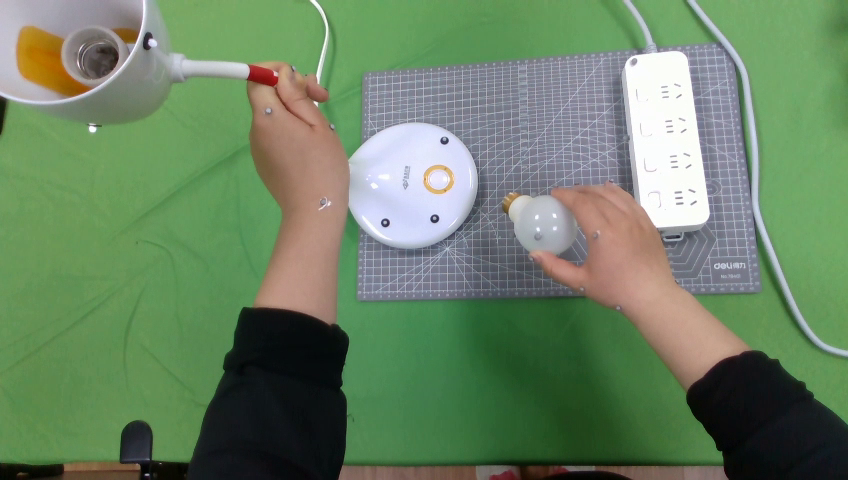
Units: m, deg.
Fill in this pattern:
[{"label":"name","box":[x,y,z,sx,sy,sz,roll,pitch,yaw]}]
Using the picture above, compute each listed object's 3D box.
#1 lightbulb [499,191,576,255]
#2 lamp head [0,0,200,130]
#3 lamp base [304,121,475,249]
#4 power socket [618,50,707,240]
[{"label":"lightbulb","box":[0.108,-0.024,0.608,0.059,0.060,0.106,-42,32,-2]},{"label":"lamp head","box":[-0.214,-0.122,0.398,0.112,0.123,0.112,0,84,2]},{"label":"lamp base","box":[-0.044,-0.083,0.657,0.179,0.181,0.159,-9,75,11]},{"label":"power socket","box":[0.268,-0.113,0.688,0.072,0.033,0.225,-4,76,8]}]
